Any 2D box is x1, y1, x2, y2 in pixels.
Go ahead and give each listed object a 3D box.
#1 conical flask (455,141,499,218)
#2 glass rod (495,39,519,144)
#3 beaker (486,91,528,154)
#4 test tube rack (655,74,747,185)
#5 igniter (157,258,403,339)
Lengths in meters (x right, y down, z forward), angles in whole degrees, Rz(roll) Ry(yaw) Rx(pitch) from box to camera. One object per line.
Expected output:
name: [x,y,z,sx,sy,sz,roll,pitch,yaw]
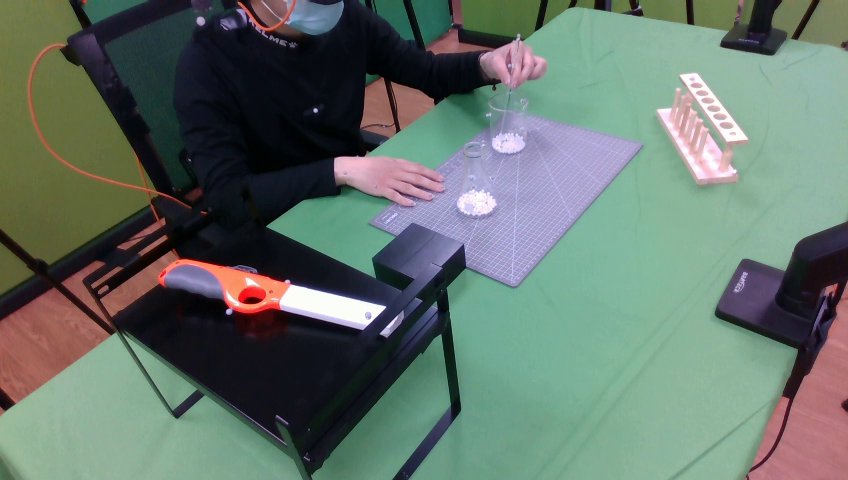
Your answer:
conical flask: [0.085,-0.103,0.999,0.075,0.122,0.075,-4,40,4]
glass rod: [0.155,-0.274,1.131,0.008,0.200,0.008,7,29,-3]
beaker: [0.160,-0.219,1.142,0.074,0.101,0.083,-22,43,-16]
test tube rack: [0.491,-0.205,1.092,0.067,0.085,0.241,-5,40,3]
igniter: [-0.157,0.059,0.638,0.275,0.025,0.057,11,43,14]
